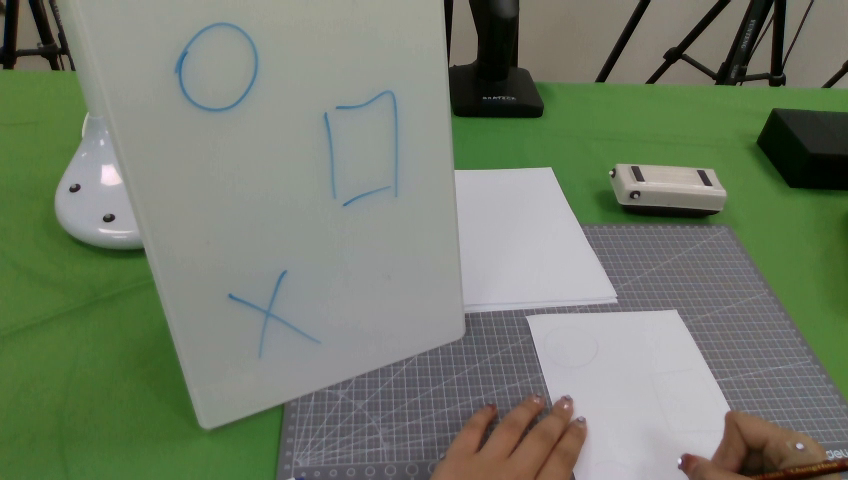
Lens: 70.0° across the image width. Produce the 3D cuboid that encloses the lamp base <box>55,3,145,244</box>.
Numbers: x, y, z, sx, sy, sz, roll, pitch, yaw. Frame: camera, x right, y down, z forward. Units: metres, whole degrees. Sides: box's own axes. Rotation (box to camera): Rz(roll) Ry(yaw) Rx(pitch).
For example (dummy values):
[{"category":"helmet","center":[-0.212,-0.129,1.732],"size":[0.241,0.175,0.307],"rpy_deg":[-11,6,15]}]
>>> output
[{"category":"lamp base","center":[-0.286,-0.114,0.563],"size":[0.178,0.182,0.160],"rpy_deg":[27,46,26]}]

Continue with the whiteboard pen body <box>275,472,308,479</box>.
[{"category":"whiteboard pen body","center":[-0.141,0.175,0.378],"size":[0.141,0.017,0.017],"rpy_deg":[-13,45,-22]}]

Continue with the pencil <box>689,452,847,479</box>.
[{"category":"pencil","center":[0.227,0.134,0.360],"size":[0.012,0.194,0.012],"rpy_deg":[23,51,-32]}]

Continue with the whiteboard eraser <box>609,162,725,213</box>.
[{"category":"whiteboard eraser","center":[0.264,-0.057,0.665],"size":[0.113,0.042,0.055],"rpy_deg":[4,43,-2]}]

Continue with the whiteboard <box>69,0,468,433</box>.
[{"category":"whiteboard","center":[-0.102,-0.050,0.464],"size":[0.218,0.307,0.142],"rpy_deg":[-16,27,-21]}]
